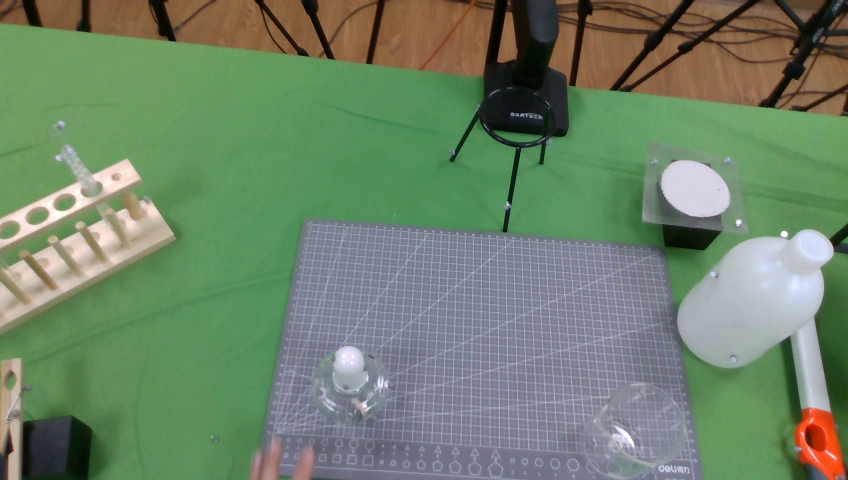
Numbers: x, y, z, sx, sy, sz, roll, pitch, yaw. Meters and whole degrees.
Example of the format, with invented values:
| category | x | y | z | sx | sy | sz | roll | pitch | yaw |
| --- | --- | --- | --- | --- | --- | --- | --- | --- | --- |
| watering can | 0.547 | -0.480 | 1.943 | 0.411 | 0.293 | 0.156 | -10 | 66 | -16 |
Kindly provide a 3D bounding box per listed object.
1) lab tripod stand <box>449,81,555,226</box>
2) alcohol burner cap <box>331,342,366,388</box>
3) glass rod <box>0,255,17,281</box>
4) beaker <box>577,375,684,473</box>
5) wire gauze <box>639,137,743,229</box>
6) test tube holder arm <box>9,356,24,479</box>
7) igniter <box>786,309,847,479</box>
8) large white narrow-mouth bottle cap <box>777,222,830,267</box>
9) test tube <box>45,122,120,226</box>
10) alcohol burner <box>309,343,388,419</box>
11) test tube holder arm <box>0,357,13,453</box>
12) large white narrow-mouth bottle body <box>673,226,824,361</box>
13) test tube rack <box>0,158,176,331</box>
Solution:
| category | x | y | z | sx | sy | sz | roll | pitch | yaw |
| --- | --- | --- | --- | --- | --- | --- | --- | --- | --- |
| lab tripod stand | 0.101 | -0.112 | 0.738 | 0.148 | 0.132 | 0.147 | 3 | 61 | -5 |
| alcohol burner cap | -0.071 | 0.113 | 0.559 | 0.034 | 0.048 | 0.033 | 1 | 54 | -2 |
| glass rod | -0.440 | -0.018 | 0.589 | 0.008 | 0.201 | 0.008 | 4 | 50 | -4 |
| beaker | 0.193 | 0.184 | 0.590 | 0.084 | 0.101 | 0.073 | 2 | 59 | -2 |
| wire gauze | 0.328 | -0.070 | 0.748 | 0.121 | 0.011 | 0.124 | 11 | 59 | 2 |
| test tube holder arm | -0.363 | 0.187 | 0.537 | 0.013 | 0.015 | 0.176 | -10 | 61 | -21 |
| igniter | 0.419 | 0.187 | 0.652 | 0.057 | 0.025 | 0.274 | 16 | 59 | -7 |
| large white narrow-mouth bottle cap | 0.347 | 0.004 | 0.556 | 0.038 | 0.024 | 0.037 | 2 | 59 | -3 |
| test tube | -0.358 | -0.064 | 0.641 | 0.017 | 0.151 | 0.017 | 1 | 54 | -1 |
| alcohol burner | -0.073 | 0.131 | 0.590 | 0.078 | 0.120 | 0.077 | 3 | 58 | -5 |
| test tube holder arm | -0.382 | 0.150 | 0.555 | 0.010 | 0.015 | 0.087 | -10 | 61 | -21 |
| large white narrow-mouth bottle body | 0.342 | 0.049 | 0.629 | 0.102 | 0.196 | 0.101 | 2 | 59 | -2 |
| test tube rack | -0.406 | 0.013 | 0.651 | 0.242 | 0.086 | 0.066 | -32 | 67 | -21 |
